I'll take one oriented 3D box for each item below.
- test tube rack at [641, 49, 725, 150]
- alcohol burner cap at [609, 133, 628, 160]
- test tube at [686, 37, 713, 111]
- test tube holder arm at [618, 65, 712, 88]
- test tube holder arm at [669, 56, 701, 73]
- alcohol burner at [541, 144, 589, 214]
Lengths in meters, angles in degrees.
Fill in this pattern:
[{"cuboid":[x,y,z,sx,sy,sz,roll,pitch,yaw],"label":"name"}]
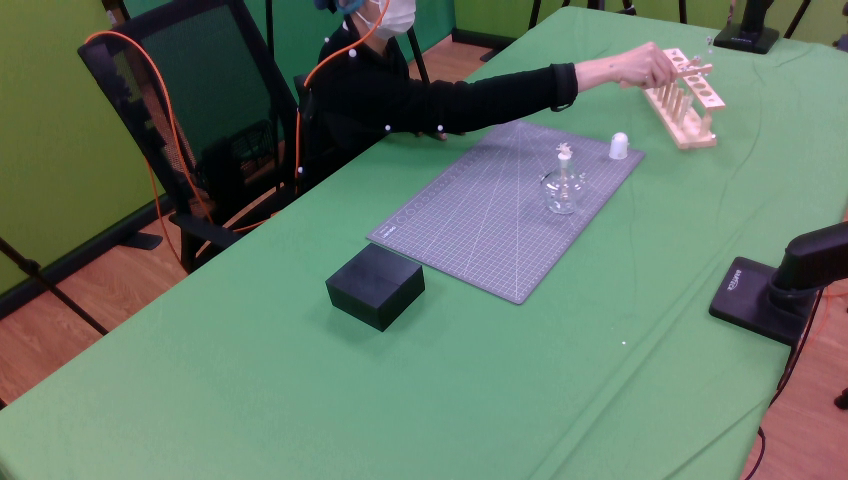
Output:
[{"cuboid":[0.495,-0.279,1.175,0.067,0.085,0.241,-5,41,3],"label":"test tube rack"},{"cuboid":[0.356,-0.172,1.101,0.034,0.048,0.033,-5,40,5],"label":"alcohol burner cap"},{"cuboid":[0.508,-0.306,1.128,0.017,0.151,0.017,-1,45,1],"label":"test tube"},{"cuboid":[0.435,-0.296,1.092,0.179,0.015,0.013,-12,51,-8],"label":"test tube holder arm"},{"cuboid":[0.474,-0.314,1.104,0.088,0.015,0.010,-31,58,-22],"label":"test tube holder arm"},{"cuboid":[0.229,-0.102,0.983,0.078,0.119,0.077,-6,41,5],"label":"alcohol burner"}]
